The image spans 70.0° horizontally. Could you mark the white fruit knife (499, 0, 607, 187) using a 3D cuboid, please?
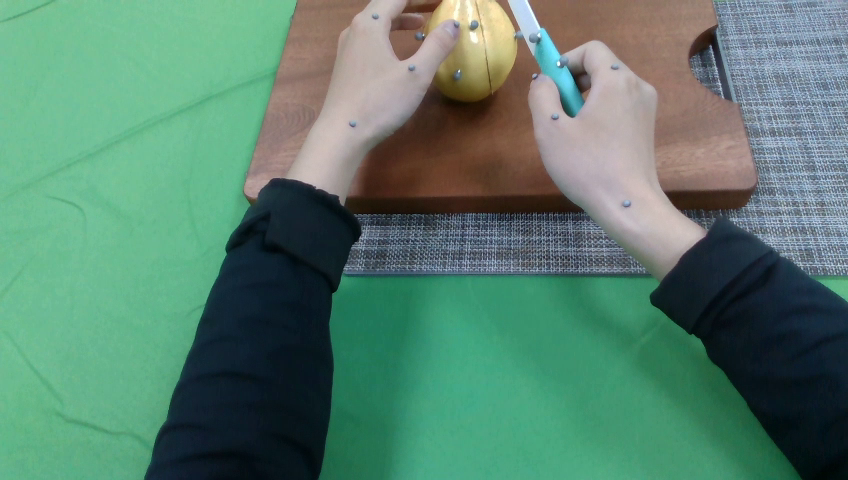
[{"bbox_3d":[0.078,-0.133,0.425,0.016,0.027,0.207,-26,88,-18],"label":"white fruit knife"}]

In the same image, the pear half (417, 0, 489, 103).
[{"bbox_3d":[0.020,-0.162,0.488,0.056,0.111,0.075,-16,53,1],"label":"pear half"}]

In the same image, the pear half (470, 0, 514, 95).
[{"bbox_3d":[0.056,-0.163,0.495,0.031,0.089,0.069,-15,54,0],"label":"pear half"}]
